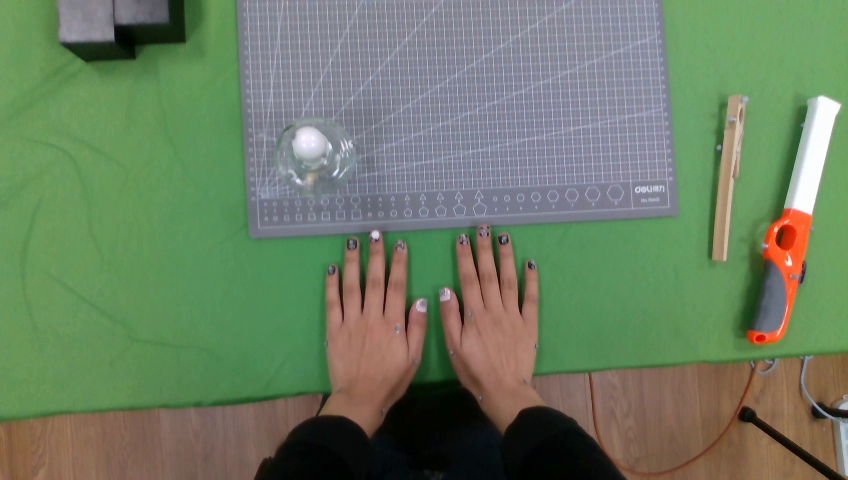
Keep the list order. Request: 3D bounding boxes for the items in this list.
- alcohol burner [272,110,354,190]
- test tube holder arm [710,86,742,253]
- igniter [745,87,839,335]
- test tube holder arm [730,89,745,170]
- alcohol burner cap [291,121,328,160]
[{"bbox_3d":[-0.104,-0.087,0.563,0.078,0.119,0.078,0,86,-6],"label":"alcohol burner"},{"bbox_3d":[0.322,-0.075,0.648,0.013,0.015,0.178,8,88,-35],"label":"test tube holder arm"},{"bbox_3d":[0.395,-0.029,0.650,0.057,0.025,0.276,17,87,-14],"label":"igniter"},{"bbox_3d":[0.333,-0.119,0.653,0.010,0.015,0.087,10,88,-35],"label":"test tube holder arm"},{"bbox_3d":[-0.101,-0.087,0.527,0.034,0.048,0.034,0,93,-6],"label":"alcohol burner cap"}]
